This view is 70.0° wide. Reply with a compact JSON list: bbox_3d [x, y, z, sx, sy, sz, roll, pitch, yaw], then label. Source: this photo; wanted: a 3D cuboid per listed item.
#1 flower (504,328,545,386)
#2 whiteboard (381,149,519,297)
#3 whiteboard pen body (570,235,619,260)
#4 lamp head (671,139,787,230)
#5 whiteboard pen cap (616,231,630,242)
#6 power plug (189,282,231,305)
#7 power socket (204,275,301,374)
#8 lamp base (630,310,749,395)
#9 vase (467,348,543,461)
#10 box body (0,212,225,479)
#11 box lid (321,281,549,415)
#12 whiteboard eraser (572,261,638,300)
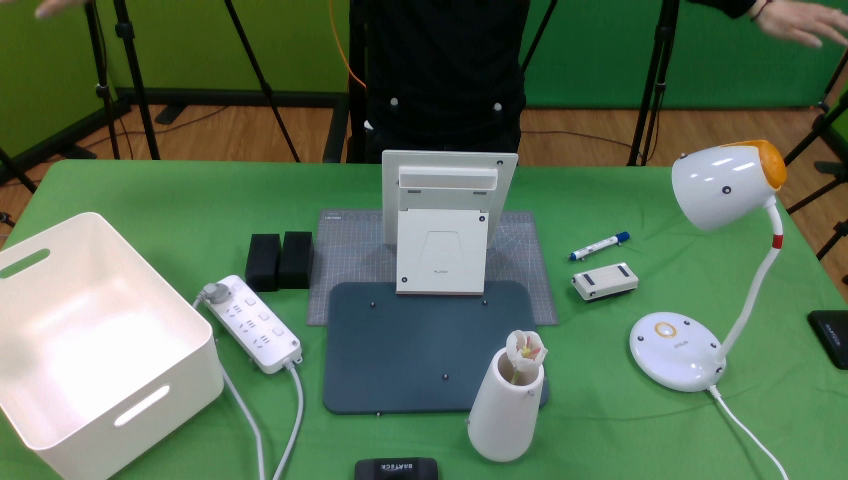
[{"bbox_3d":[0.114,0.189,0.790,0.044,0.363,0.038,34,69,19],"label":"flower"},{"bbox_3d":[0.033,-0.008,1.042,0.217,0.307,0.143,2,61,-2],"label":"whiteboard"},{"bbox_3d":[0.351,0.011,1.215,0.141,0.017,0.017,-20,51,-23],"label":"whiteboard pen body"},{"bbox_3d":[0.415,-0.078,0.812,0.113,0.123,0.112,12,70,-37],"label":"lamp head"},{"bbox_3d":[0.403,-0.007,1.235,0.033,0.018,0.018,-19,51,-23],"label":"whiteboard pen cap"},{"bbox_3d":[-0.368,0.097,1.038,0.072,0.053,0.035,-27,55,-21],"label":"power plug"},{"bbox_3d":[-0.296,0.140,1.035,0.072,0.033,0.225,-33,57,-29],"label":"power socket"},{"bbox_3d":[0.447,0.143,0.984,0.161,0.181,0.178,-24,55,-24],"label":"lamp base"},{"bbox_3d":[0.116,0.235,0.860,0.098,0.201,0.097,1,47,-1],"label":"vase"},{"bbox_3d":[-0.506,0.155,0.916,0.362,0.161,0.254,35,54,26],"label":"box body"},{"bbox_3d":[0.013,0.174,1.040,0.372,0.015,0.261,0,47,-5],"label":"box lid"},{"bbox_3d":[0.338,0.079,1.133,0.113,0.042,0.055,-12,46,-15],"label":"whiteboard eraser"}]
